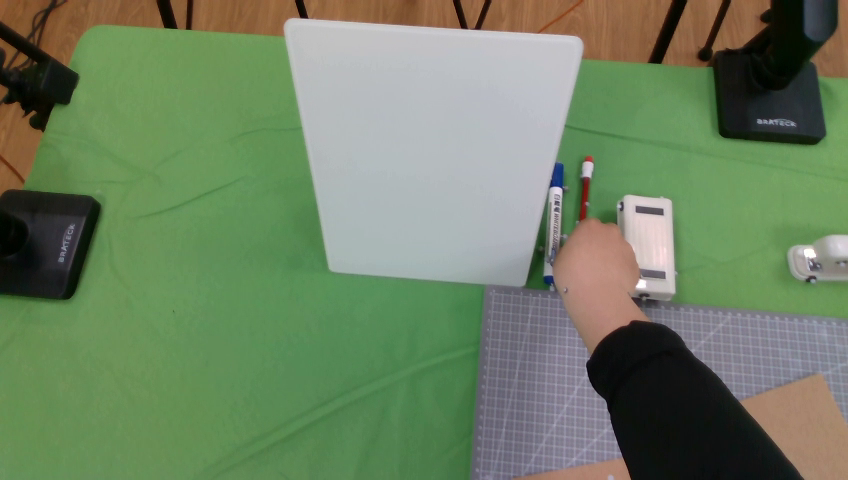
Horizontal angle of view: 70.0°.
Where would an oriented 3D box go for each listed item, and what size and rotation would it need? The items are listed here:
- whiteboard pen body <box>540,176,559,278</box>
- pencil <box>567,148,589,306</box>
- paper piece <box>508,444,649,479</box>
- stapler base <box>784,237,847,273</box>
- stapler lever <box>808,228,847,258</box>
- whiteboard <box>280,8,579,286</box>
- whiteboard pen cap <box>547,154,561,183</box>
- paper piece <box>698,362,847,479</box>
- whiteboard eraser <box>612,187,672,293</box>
[{"bbox_3d":[0.141,-0.027,0.677,0.017,0.017,0.140,6,71,3],"label":"whiteboard pen body"},{"bbox_3d":[0.171,-0.018,0.676,0.012,0.012,0.193,9,70,4],"label":"pencil"},{"bbox_3d":[0.159,0.273,0.571,0.135,0.004,0.134,-9,71,-3],"label":"paper piece"},{"bbox_3d":[0.463,0.013,0.658,0.130,0.024,0.041,0,73,-1],"label":"stapler base"},{"bbox_3d":[0.464,0.005,0.636,0.118,0.040,0.026,0,72,0],"label":"stapler lever"},{"bbox_3d":[0.008,-0.109,0.588,0.217,0.308,0.142,5,51,3],"label":"whiteboard"},{"bbox_3d":[0.150,-0.081,0.696,0.018,0.018,0.033,4,68,2],"label":"whiteboard pen cap"},{"bbox_3d":[0.359,0.206,0.594,0.136,0.009,0.137,-17,73,-1],"label":"paper piece"},{"bbox_3d":[0.234,0.000,0.655,0.055,0.042,0.112,5,70,2],"label":"whiteboard eraser"}]
